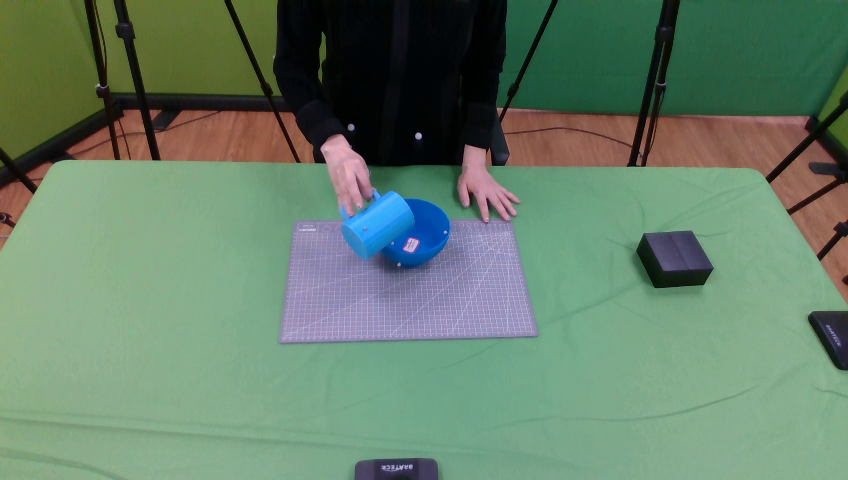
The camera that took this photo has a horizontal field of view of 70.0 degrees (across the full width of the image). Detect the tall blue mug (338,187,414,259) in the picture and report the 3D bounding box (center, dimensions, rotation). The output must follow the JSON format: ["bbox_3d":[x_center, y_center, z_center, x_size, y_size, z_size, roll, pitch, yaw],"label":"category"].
[{"bbox_3d":[-0.091,-0.040,1.058,0.108,0.107,0.077,-37,15,-22],"label":"tall blue mug"}]

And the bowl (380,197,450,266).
[{"bbox_3d":[-0.028,-0.003,1.156,0.151,0.077,0.150,2,46,-2],"label":"bowl"}]
